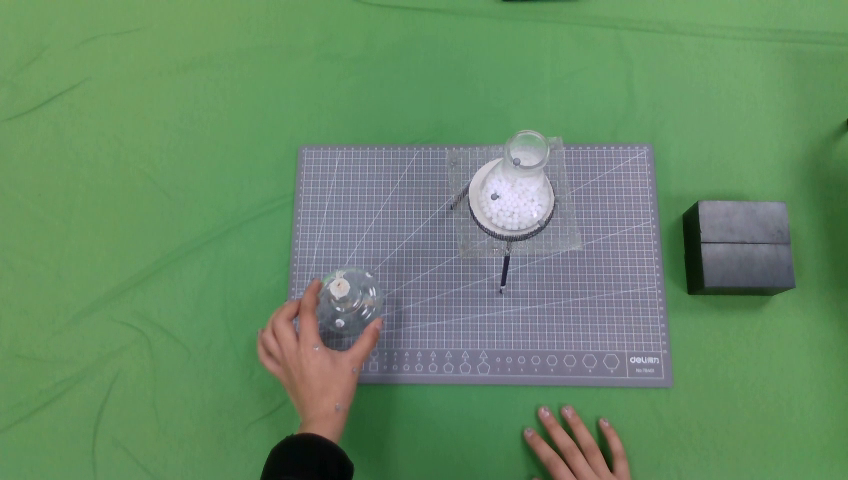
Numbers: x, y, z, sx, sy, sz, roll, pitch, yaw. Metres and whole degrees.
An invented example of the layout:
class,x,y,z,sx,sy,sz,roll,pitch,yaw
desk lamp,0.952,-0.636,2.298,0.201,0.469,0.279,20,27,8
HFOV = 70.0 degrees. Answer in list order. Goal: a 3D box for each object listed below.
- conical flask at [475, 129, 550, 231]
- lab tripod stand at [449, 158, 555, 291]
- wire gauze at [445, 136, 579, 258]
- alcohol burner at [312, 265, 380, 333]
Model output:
class,x,y,z,sx,sy,sz,roll,pitch,yaw
conical flask,0.087,-0.059,0.557,0.075,0.122,0.075,0,74,2
lab tripod stand,0.093,-0.028,0.678,0.148,0.132,0.147,0,73,2
wire gauze,0.088,-0.044,0.615,0.125,0.011,0.121,-5,77,-2
alcohol burner,-0.088,0.061,0.671,0.078,0.120,0.077,0,73,1
